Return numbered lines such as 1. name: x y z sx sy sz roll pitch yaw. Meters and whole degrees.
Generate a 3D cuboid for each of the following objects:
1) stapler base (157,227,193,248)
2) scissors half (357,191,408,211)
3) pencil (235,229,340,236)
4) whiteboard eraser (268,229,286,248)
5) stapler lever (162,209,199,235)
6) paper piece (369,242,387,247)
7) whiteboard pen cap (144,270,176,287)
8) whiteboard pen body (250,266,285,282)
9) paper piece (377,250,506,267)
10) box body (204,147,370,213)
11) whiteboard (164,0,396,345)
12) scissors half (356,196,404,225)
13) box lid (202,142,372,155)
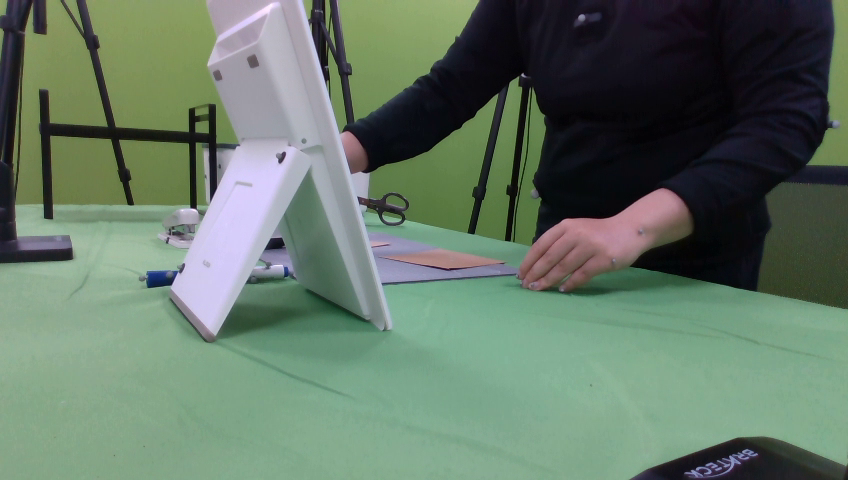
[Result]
1. stapler base: -0.376 -0.007 0.935 0.041 0.024 0.130 1 5 -38
2. scissors half: -0.122 -0.092 1.318 0.175 0.040 0.013 6 12 -3
3. pencil: -0.232 -0.012 1.054 0.195 0.012 0.012 0 8 -36
4. whiteboard eraser: -0.253 -0.007 0.886 0.055 0.042 0.113 10 10 43
5. stapler lever: -0.376 -0.031 0.933 0.027 0.040 0.117 1 7 -38
6. paper piece: -0.151 0.003 0.978 0.135 0.008 0.139 13 10 35
7. whiteboard pen cap: -0.271 0.039 0.627 0.033 0.018 0.018 -4 10 -33
8. whiteboard pen body: -0.220 0.039 0.656 0.141 0.017 0.017 -2 9 -31
9. paper piece: 0.026 0.026 0.865 0.134 0.004 0.136 8 7 43
10. box body: -0.346 -0.152 1.520 0.366 0.160 0.253 -1 9 -31
11. whiteboard: -0.173 -0.053 0.511 0.144 0.305 0.216 -23 19 -26
12. scissors half: -0.127 -0.072 1.321 0.175 0.040 0.013 22 6 -5
13. box lid: -0.344 -0.225 1.509 0.373 0.015 0.262 -2 8 -31
